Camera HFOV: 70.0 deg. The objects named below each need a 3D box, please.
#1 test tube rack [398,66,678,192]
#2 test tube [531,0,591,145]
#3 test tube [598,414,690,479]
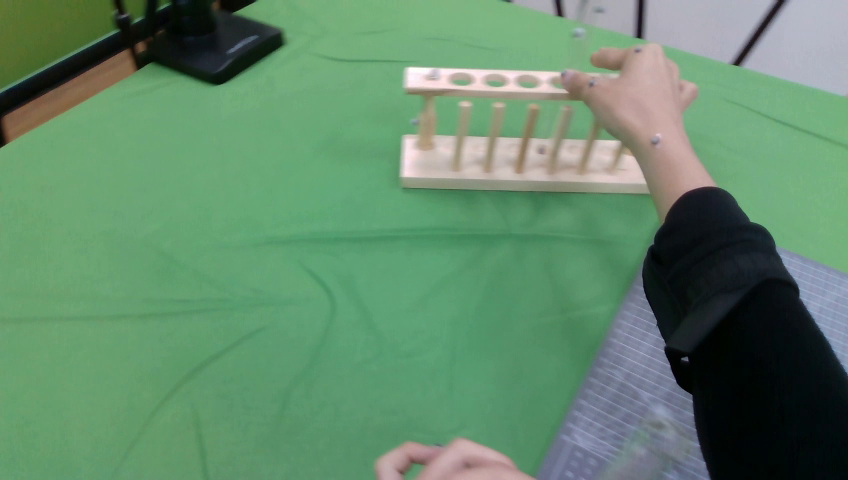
[{"bbox_3d":[0.098,-0.099,0.550,0.242,0.086,0.066,1,46,-3],"label":"test tube rack"},{"bbox_3d":[0.119,-0.148,0.527,0.017,0.151,0.017,6,40,-5],"label":"test tube"},{"bbox_3d":[0.069,0.114,0.247,0.017,0.151,0.017,6,45,-5],"label":"test tube"}]
